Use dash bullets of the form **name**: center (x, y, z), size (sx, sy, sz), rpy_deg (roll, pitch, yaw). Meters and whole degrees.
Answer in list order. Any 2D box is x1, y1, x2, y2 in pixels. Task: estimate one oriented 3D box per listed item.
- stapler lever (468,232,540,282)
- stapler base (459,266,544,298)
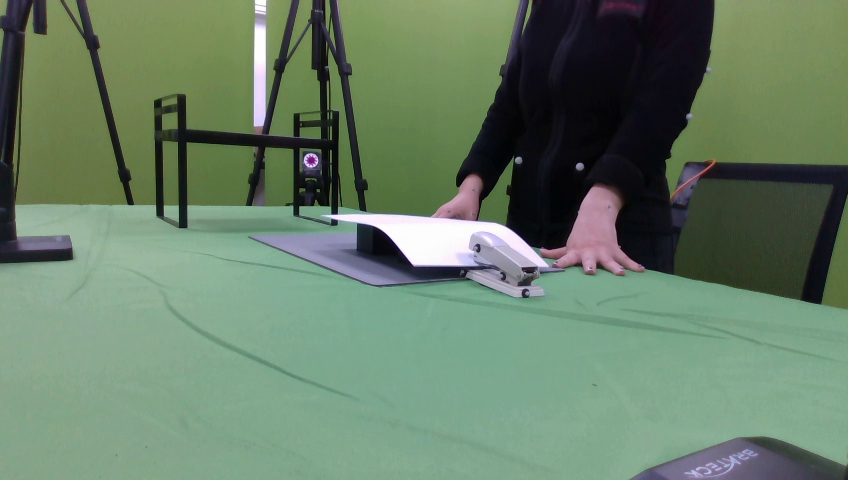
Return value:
- **stapler lever**: center (0.090, 0.018, 0.700), size (0.027, 0.040, 0.117), rpy_deg (-2, 11, -27)
- **stapler base**: center (0.087, 0.042, 0.705), size (0.041, 0.024, 0.130), rpy_deg (-2, 11, -27)
